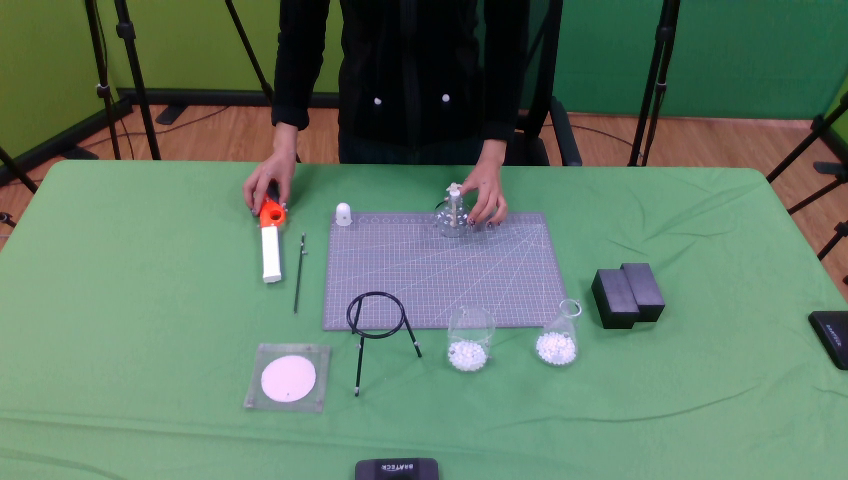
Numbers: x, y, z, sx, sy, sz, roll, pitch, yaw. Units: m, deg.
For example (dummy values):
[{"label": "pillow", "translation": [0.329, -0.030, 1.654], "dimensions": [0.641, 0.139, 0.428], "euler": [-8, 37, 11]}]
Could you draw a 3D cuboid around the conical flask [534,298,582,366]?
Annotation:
[{"label": "conical flask", "translation": [0.229, 0.149, 1.005], "dimensions": [0.075, 0.122, 0.075], "euler": [2, 46, -2]}]

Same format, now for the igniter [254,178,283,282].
[{"label": "igniter", "translation": [-0.305, -0.028, 1.194], "dimensions": [0.057, 0.025, 0.274], "euler": [-7, 48, -9]}]

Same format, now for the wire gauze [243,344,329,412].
[{"label": "wire gauze", "translation": [-0.221, 0.219, 0.981], "dimensions": [0.125, 0.011, 0.120], "euler": [2, 45, 0]}]

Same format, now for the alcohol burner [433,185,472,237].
[{"label": "alcohol burner", "translation": [0.057, -0.062, 1.198], "dimensions": [0.078, 0.120, 0.077], "euler": [1, 47, -1]}]

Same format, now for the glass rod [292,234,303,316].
[{"label": "glass rod", "translation": [-0.236, 0.060, 1.134], "dimensions": [0.008, 0.008, 0.198], "euler": [-1, 47, -5]}]

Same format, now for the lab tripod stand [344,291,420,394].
[{"label": "lab tripod stand", "translation": [-0.075, 0.155, 0.967], "dimensions": [0.148, 0.132, 0.147], "euler": [3, 44, -3]}]

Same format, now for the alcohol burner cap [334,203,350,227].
[{"label": "alcohol burner cap", "translation": [-0.166, -0.053, 1.220], "dimensions": [0.034, 0.048, 0.033], "euler": [2, 46, -2]}]

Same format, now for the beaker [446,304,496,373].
[{"label": "beaker", "translation": [0.072, 0.166, 0.992], "dimensions": [0.084, 0.101, 0.073], "euler": [-21, 51, -22]}]
